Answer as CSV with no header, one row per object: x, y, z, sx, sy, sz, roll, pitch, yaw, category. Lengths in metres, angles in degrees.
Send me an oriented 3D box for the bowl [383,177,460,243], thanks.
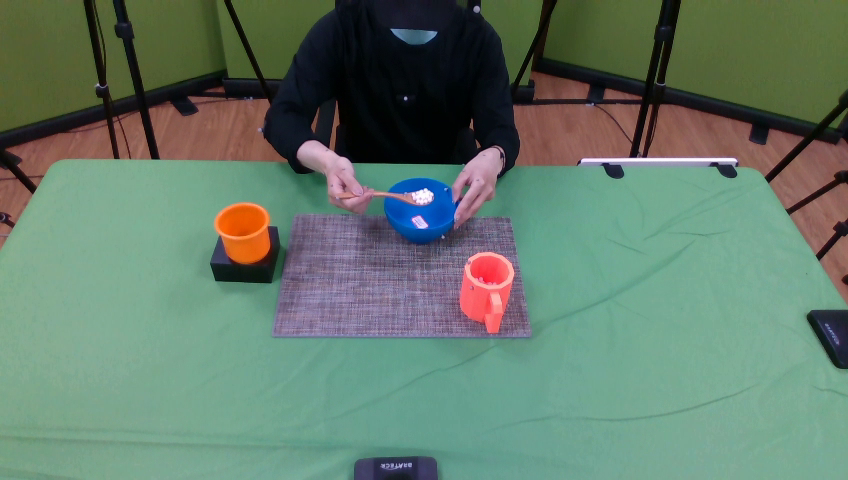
-0.006,-0.047,1.197,0.151,0.077,0.150,2,46,-2,bowl

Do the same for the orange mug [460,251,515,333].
0.114,0.095,1.053,0.083,0.101,0.125,-5,42,-8,orange mug

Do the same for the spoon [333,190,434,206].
-0.071,-0.082,1.110,0.194,0.022,0.041,2,50,-27,spoon
